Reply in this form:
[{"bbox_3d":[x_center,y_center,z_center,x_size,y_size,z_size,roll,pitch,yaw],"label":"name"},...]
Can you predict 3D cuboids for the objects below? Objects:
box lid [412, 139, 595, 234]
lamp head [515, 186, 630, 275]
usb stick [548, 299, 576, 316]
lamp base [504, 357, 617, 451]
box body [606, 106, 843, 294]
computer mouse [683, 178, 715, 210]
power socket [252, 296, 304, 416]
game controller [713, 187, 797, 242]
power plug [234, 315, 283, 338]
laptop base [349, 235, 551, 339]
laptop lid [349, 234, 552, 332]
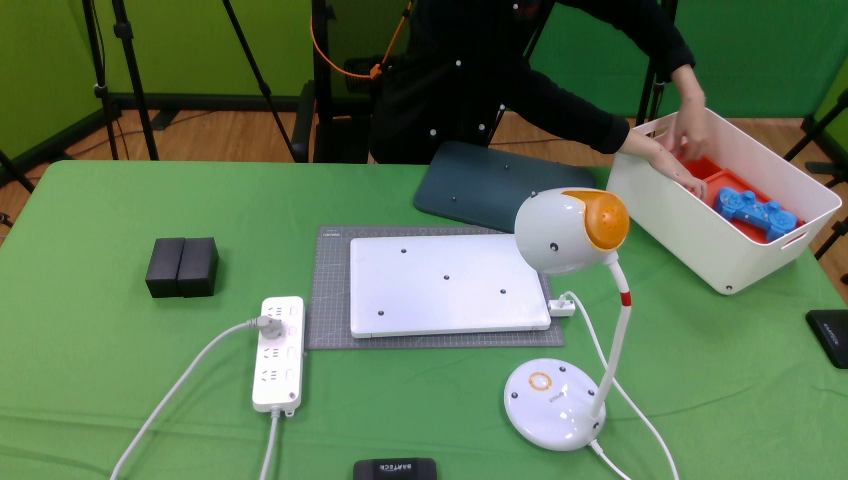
[{"bbox_3d":[0.182,-0.111,1.327,0.371,0.015,0.262,14,46,10],"label":"box lid"},{"bbox_3d":[0.188,-0.013,0.728,0.112,0.112,0.122,-25,9,-25],"label":"lamp head"},{"bbox_3d":[0.239,0.121,1.084,0.059,0.027,0.021,-1,51,-1],"label":"usb stick"},{"bbox_3d":[0.220,0.211,0.903,0.160,0.181,0.178,-33,59,-30],"label":"lamp base"},{"bbox_3d":[0.582,-0.088,1.230,0.254,0.161,0.361,-22,52,-23],"label":"box body"},{"bbox_3d":[0.596,-0.078,1.291,0.117,0.041,0.063,56,46,-7],"label":"computer mouse"},{"bbox_3d":[-0.238,0.181,0.997,0.072,0.033,0.225,-3,47,-5],"label":"power socket"},{"bbox_3d":[0.646,-0.058,1.184,0.154,0.052,0.097,27,54,20],"label":"game controller"},{"bbox_3d":[-0.269,0.143,1.000,0.072,0.053,0.035,4,47,2],"label":"power plug"},{"bbox_3d":[0.039,0.081,1.124,0.355,0.023,0.234,-2,43,-6],"label":"laptop base"},{"bbox_3d":[0.040,0.071,1.118,0.357,0.013,0.240,0,44,-5],"label":"laptop lid"}]
